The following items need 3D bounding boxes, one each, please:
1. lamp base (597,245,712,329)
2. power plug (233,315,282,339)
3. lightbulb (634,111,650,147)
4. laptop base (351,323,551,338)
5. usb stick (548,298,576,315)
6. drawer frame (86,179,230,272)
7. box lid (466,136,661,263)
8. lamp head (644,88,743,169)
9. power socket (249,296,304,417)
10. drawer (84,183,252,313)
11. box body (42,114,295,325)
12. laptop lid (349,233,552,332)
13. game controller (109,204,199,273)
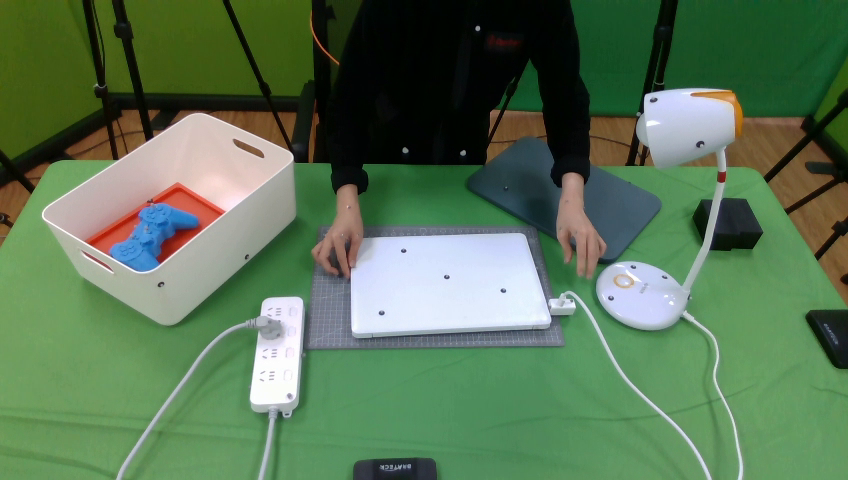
[{"bbox_3d":[0.418,0.051,1.072,0.179,0.181,0.160,22,49,13],"label":"lamp base"},{"bbox_3d":[-0.271,0.144,0.999,0.072,0.053,0.035,6,47,3],"label":"power plug"},{"bbox_3d":[0.348,-0.163,0.852,0.059,0.060,0.107,-36,19,-32],"label":"lightbulb"},{"bbox_3d":[0.040,0.081,1.125,0.355,0.023,0.234,-2,43,-6],"label":"laptop base"},{"bbox_3d":[0.240,0.120,1.086,0.059,0.027,0.021,-2,51,-2],"label":"usb stick"},{"bbox_3d":[-0.453,0.010,1.100,0.201,0.083,0.213,28,54,23],"label":"drawer frame"},{"bbox_3d":[0.306,-0.102,1.327,0.370,0.015,0.263,32,52,25],"label":"box lid"},{"bbox_3d":[0.380,-0.161,0.851,0.122,0.113,0.112,-4,42,25],"label":"lamp head"},{"bbox_3d":[-0.239,0.182,0.996,0.072,0.033,0.225,-2,47,-5],"label":"power socket"},{"bbox_3d":[-0.457,0.008,1.099,0.194,0.073,0.211,29,49,21],"label":"drawer"},{"bbox_3d":[-0.437,-0.046,1.110,0.253,0.161,0.363,24,49,19],"label":"box body"},{"bbox_3d":[0.040,0.071,1.119,0.357,0.013,0.240,-1,44,-5],"label":"laptop lid"},{"bbox_3d":[-0.467,-0.005,1.044,0.097,0.052,0.154,8,45,10],"label":"game controller"}]
